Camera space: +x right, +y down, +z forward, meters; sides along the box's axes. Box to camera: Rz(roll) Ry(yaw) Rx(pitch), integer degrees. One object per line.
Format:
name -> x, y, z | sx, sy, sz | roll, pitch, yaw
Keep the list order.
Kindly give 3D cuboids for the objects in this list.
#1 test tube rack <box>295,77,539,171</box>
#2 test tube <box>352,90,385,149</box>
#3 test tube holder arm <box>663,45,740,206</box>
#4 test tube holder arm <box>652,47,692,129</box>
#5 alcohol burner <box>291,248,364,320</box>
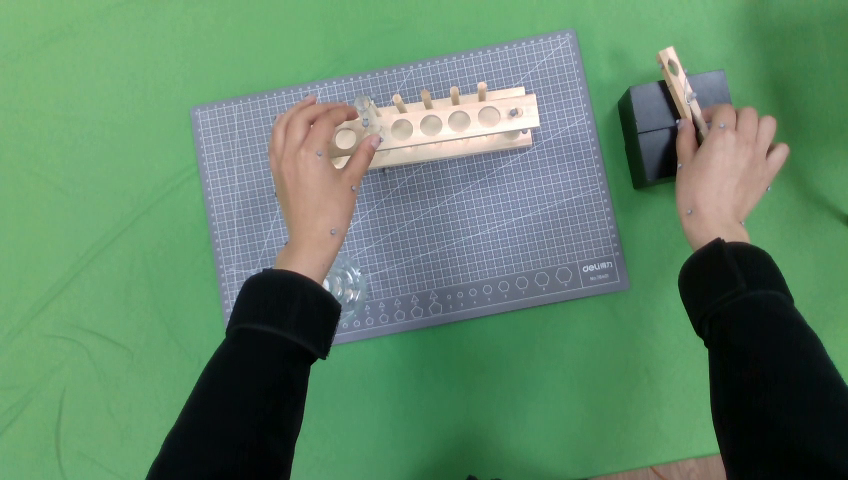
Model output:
test tube rack -> -0.008, -0.129, 0.644 | 0.242, 0.085, 0.066 | -8, 86, 2
test tube -> -0.052, -0.115, 0.596 | 0.017, 0.150, 0.017 | 0, 84, 3
test tube holder arm -> 0.281, -0.117, 0.619 | 0.013, 0.015, 0.178 | -25, 86, 8
test tube holder arm -> 0.258, -0.155, 0.622 | 0.010, 0.015, 0.087 | -24, 87, 8
alcohol burner -> -0.102, 0.045, 0.624 | 0.078, 0.119, 0.077 | 0, 84, 2
